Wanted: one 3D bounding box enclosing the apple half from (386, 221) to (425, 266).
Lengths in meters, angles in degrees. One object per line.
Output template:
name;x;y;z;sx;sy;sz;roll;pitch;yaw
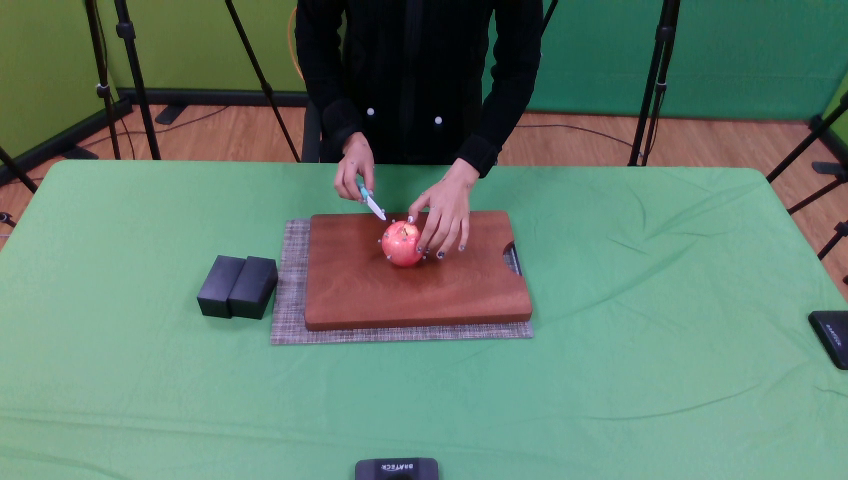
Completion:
apple half;-0.027;0.013;1.109;0.053;0.075;0.080;28;47;16

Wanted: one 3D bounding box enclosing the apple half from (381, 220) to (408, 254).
apple half;-0.059;-0.004;1.121;0.032;0.081;0.081;28;51;16

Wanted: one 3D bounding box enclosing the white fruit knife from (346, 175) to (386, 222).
white fruit knife;-0.104;-0.077;1.095;0.016;0.027;0.206;-15;31;-19
